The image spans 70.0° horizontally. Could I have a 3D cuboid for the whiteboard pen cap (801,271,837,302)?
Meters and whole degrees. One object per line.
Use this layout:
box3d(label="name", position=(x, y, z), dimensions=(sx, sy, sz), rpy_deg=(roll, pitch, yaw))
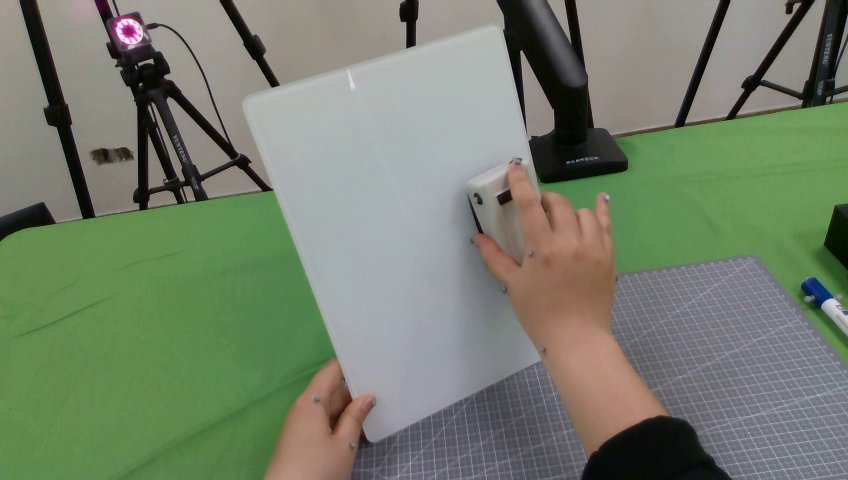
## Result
box3d(label="whiteboard pen cap", position=(0.380, 0.046, 0.580), dimensions=(0.018, 0.018, 0.033), rpy_deg=(-10, 34, 0))

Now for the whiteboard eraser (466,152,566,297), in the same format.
box3d(label="whiteboard eraser", position=(0.077, -0.012, 0.509), dimensions=(0.055, 0.113, 0.041), rpy_deg=(-26, 19, -14))

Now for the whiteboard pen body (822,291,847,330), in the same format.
box3d(label="whiteboard pen body", position=(0.385, 0.080, 0.534), dimensions=(0.017, 0.017, 0.139), rpy_deg=(-9, 35, 1))

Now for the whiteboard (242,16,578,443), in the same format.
box3d(label="whiteboard", position=(-0.014, -0.017, 0.564), dimensions=(0.217, 0.307, 0.143), rpy_deg=(-22, 18, -15))
